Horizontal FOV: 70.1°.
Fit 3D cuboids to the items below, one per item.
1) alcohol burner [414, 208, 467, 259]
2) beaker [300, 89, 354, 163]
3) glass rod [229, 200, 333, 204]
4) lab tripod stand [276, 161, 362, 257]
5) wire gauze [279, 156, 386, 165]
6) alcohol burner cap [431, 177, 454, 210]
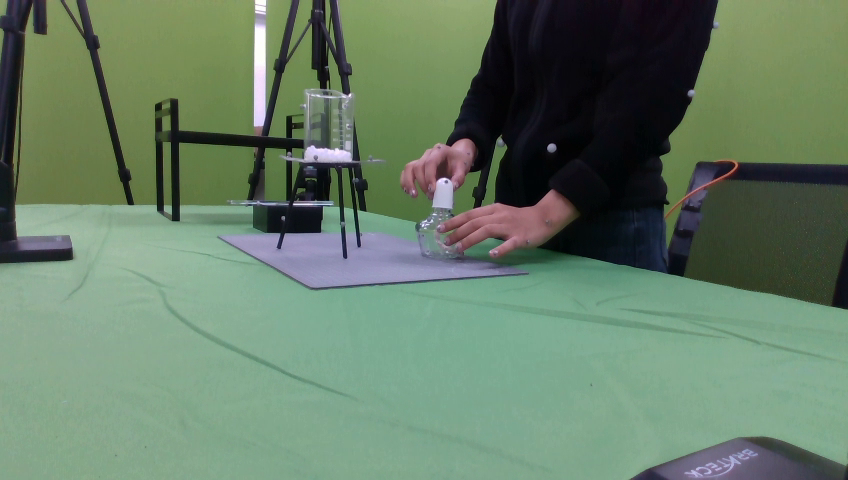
[{"bbox_3d":[0.026,-0.032,0.891,0.078,0.119,0.078,4,5,0],"label":"alcohol burner"},{"bbox_3d":[-0.137,-0.161,0.868,0.083,0.100,0.074,9,10,42],"label":"beaker"},{"bbox_3d":[-0.265,-0.071,1.144,0.201,0.008,0.008,-1,8,-31],"label":"glass rod"},{"bbox_3d":[-0.143,-0.049,0.884,0.148,0.131,0.148,1,9,0],"label":"lab tripod stand"},{"bbox_3d":[-0.134,-0.113,0.875,0.122,0.011,0.124,-1,6,-30],"label":"wire gauze"},{"bbox_3d":[0.030,-0.068,0.888,0.034,0.048,0.034,7,6,0],"label":"alcohol burner cap"}]
